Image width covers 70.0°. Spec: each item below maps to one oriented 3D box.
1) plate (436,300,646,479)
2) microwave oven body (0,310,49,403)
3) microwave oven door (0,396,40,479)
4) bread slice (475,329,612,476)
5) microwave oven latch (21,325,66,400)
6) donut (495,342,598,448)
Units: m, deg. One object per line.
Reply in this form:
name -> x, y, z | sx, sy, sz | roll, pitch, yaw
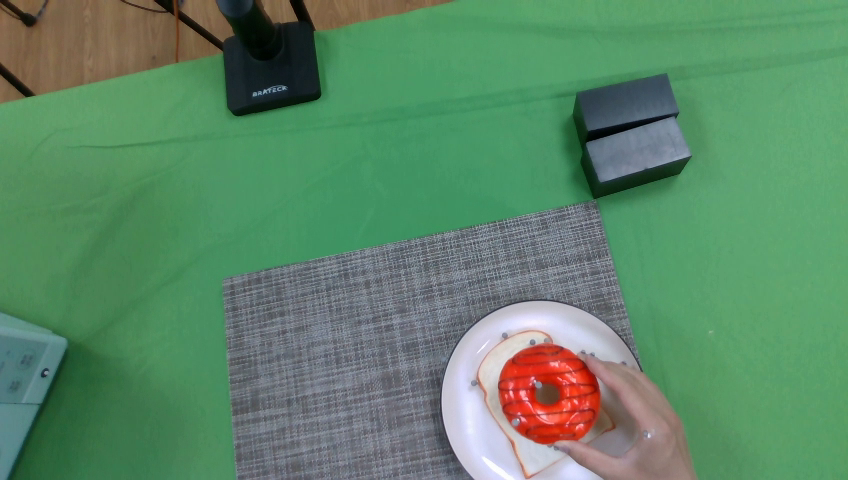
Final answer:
plate -> 0.117, 0.167, 0.624 | 0.207, 0.039, 0.206 | -2, 74, 7
microwave oven body -> -0.649, 0.237, 0.590 | 0.325, 0.262, 0.440 | 16, 78, 11
microwave oven door -> -0.526, 0.313, 0.547 | 0.039, 0.245, 0.354 | 16, 77, 13
bread slice -> 0.114, 0.160, 0.627 | 0.105, 0.019, 0.130 | -32, 74, -3
microwave oven latch -> -0.441, 0.140, 0.691 | 0.030, 0.030, 0.079 | 18, 78, 12
donut -> 0.117, 0.148, 0.583 | 0.099, 0.048, 0.098 | -3, 69, 8
